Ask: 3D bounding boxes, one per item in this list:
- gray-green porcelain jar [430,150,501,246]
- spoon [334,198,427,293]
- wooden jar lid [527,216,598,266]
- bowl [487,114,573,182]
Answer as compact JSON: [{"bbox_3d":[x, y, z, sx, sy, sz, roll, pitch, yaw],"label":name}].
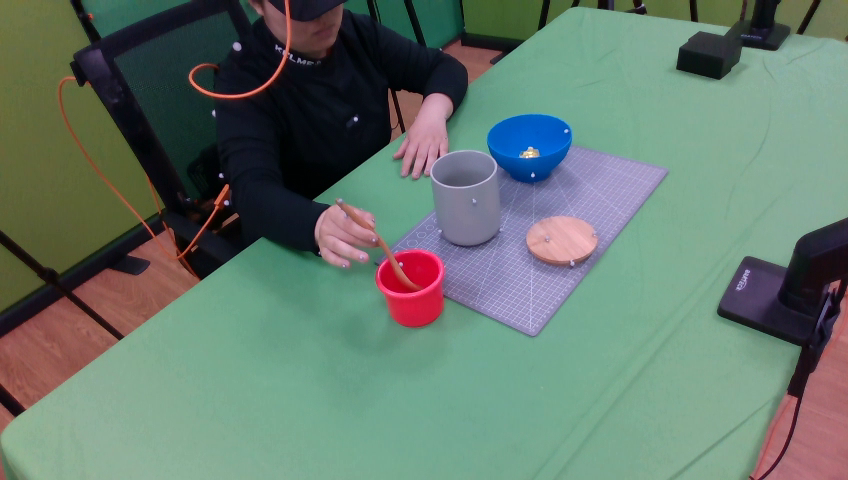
[{"bbox_3d":[0.069,-0.062,0.959,0.106,0.127,0.105,-5,40,5],"label":"gray-green porcelain jar"},{"bbox_3d":[-0.058,0.010,0.824,0.021,0.195,0.041,-42,27,-8],"label":"spoon"},{"bbox_3d":[0.214,0.003,0.937,0.108,0.021,0.108,-4,40,4],"label":"wooden jar lid"},{"bbox_3d":[0.190,-0.156,1.085,0.151,0.077,0.150,-5,40,5],"label":"bowl"}]
